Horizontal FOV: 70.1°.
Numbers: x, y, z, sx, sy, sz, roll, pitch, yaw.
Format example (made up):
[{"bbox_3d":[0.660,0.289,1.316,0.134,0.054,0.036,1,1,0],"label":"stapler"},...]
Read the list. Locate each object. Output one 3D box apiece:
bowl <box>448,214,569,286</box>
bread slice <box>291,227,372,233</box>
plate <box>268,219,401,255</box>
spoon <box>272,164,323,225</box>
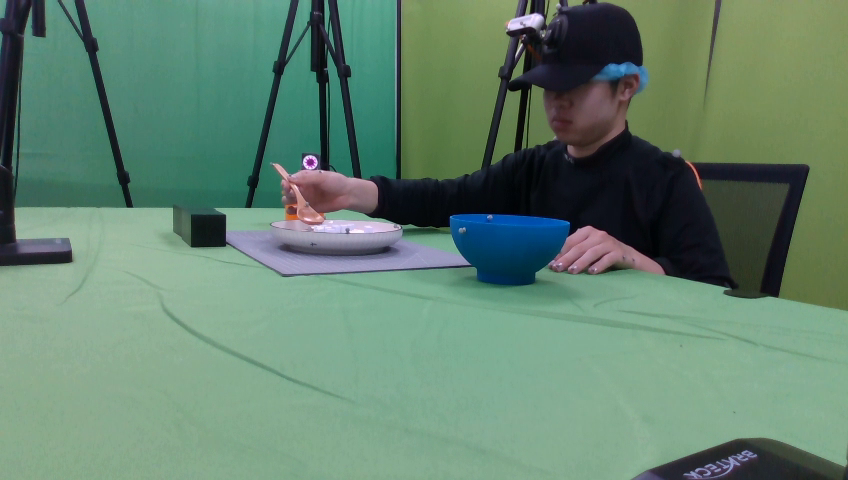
[{"bbox_3d":[0.103,0.012,0.758,0.151,0.077,0.151,2,7,0],"label":"bowl"},{"bbox_3d":[-0.143,-0.005,0.953,0.135,0.018,0.106,-3,10,-37],"label":"bread slice"},{"bbox_3d":[-0.140,-0.006,0.958,0.209,0.038,0.209,3,7,0],"label":"plate"},{"bbox_3d":[-0.218,-0.080,1.021,0.042,0.021,0.193,-4,41,-34],"label":"spoon"}]
